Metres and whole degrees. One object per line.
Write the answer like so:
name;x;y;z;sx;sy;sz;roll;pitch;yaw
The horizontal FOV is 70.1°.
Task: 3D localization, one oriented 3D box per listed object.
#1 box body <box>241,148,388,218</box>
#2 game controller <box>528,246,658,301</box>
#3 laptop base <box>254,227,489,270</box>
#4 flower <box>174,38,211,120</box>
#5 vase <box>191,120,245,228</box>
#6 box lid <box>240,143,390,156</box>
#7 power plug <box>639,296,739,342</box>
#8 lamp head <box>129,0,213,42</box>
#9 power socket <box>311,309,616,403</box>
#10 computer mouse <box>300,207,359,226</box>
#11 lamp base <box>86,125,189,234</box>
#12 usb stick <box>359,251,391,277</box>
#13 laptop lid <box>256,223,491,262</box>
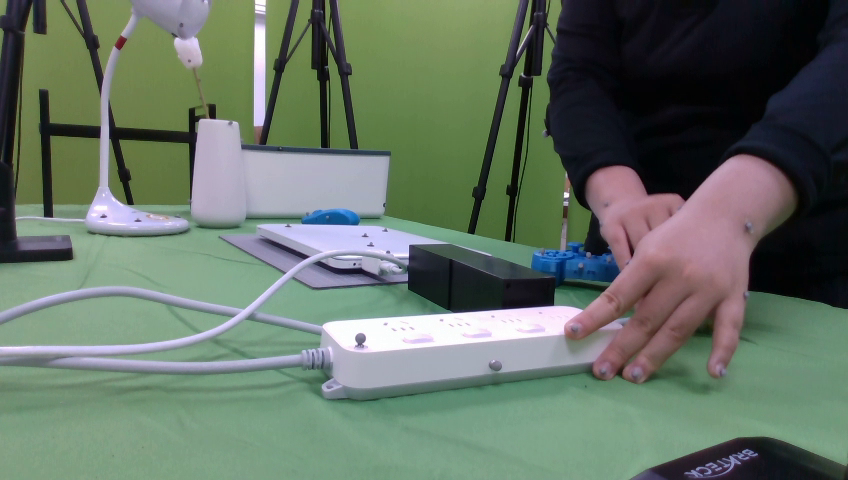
box body;-0.297;-0.143;1.474;0.366;0.160;0.253;-1;9;-30
game controller;0.202;0.036;0.732;0.155;0.051;0.097;5;10;19
laptop base;-0.095;0.011;0.911;0.237;0.023;0.352;2;6;-32
flower;-0.401;-0.207;1.141;0.038;0.361;0.044;-14;3;43
vase;-0.389;-0.124;1.142;0.098;0.200;0.098;3;9;0
box lid;-0.295;-0.217;1.463;0.373;0.015;0.262;-1;8;-30
power plug;0.238;0.079;0.538;0.035;0.072;0.052;48;3;-41
lamp head;-0.423;-0.394;0.980;0.123;0.112;0.112;20;7;-3
power socket;0.033;0.074;0.416;0.228;0.032;0.072;-1;8;-25
computer mouse;-0.194;-0.046;1.241;0.117;0.041;0.063;0;10;11
lamp base;-0.497;-0.105;1.027;0.179;0.180;0.160;1;7;2
usb stick;-0.061;0.027;0.708;0.021;0.027;0.059;-1;3;-30
laptop lid;-0.093;0.000;0.911;0.243;0.013;0.355;1;7;-30
